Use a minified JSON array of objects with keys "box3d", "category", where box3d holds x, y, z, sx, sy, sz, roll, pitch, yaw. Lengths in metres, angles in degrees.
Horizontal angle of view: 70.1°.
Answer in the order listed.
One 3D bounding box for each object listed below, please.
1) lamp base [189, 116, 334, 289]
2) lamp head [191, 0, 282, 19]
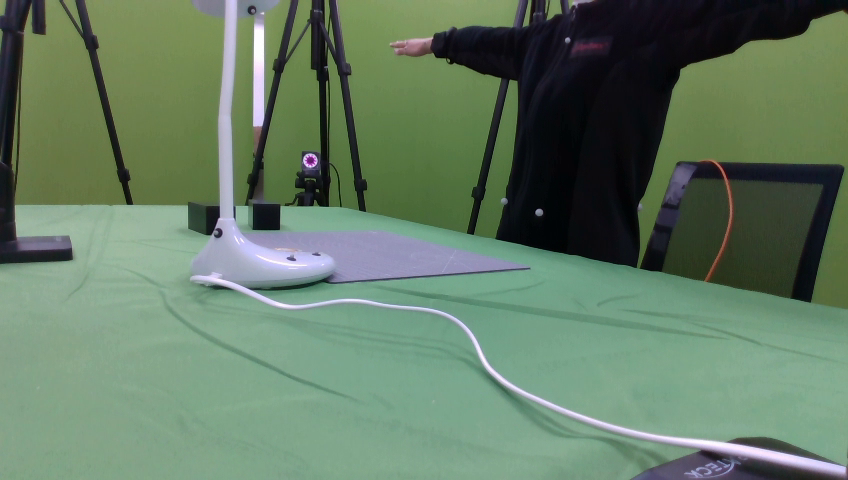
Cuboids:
[{"box3d":[-0.185,-0.044,0.669,0.160,0.180,0.179,3,10,14],"category":"lamp base"},{"box3d":[-0.222,-0.330,0.689,0.112,0.112,0.123,3,-33,-4],"category":"lamp head"}]
